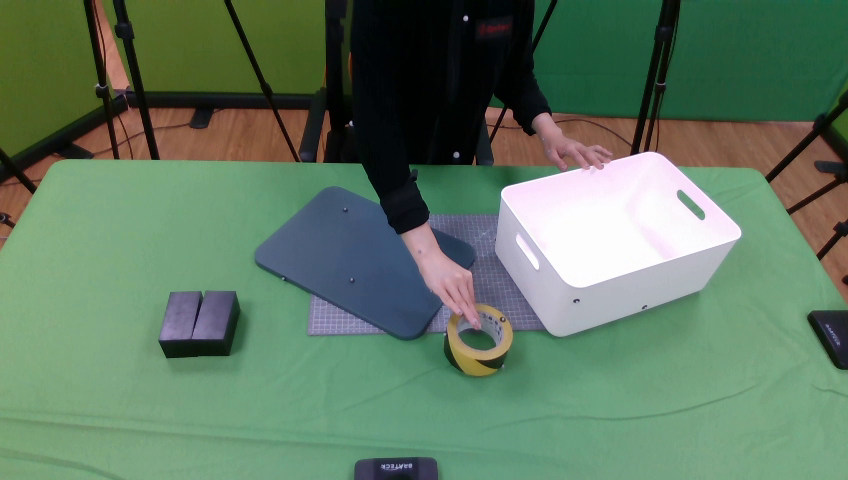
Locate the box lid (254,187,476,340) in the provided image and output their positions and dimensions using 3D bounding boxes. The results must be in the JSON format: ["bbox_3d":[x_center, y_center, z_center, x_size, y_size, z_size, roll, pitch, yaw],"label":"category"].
[{"bbox_3d":[-0.112,0.028,1.168,0.370,0.015,0.262,24,49,19],"label":"box lid"}]

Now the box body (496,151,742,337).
[{"bbox_3d":[0.340,0.003,1.118,0.364,0.161,0.252,-15,49,-18],"label":"box body"}]

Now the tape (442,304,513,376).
[{"bbox_3d":[0.090,0.166,1.006,0.117,0.053,0.116,4,48,-4],"label":"tape"}]
